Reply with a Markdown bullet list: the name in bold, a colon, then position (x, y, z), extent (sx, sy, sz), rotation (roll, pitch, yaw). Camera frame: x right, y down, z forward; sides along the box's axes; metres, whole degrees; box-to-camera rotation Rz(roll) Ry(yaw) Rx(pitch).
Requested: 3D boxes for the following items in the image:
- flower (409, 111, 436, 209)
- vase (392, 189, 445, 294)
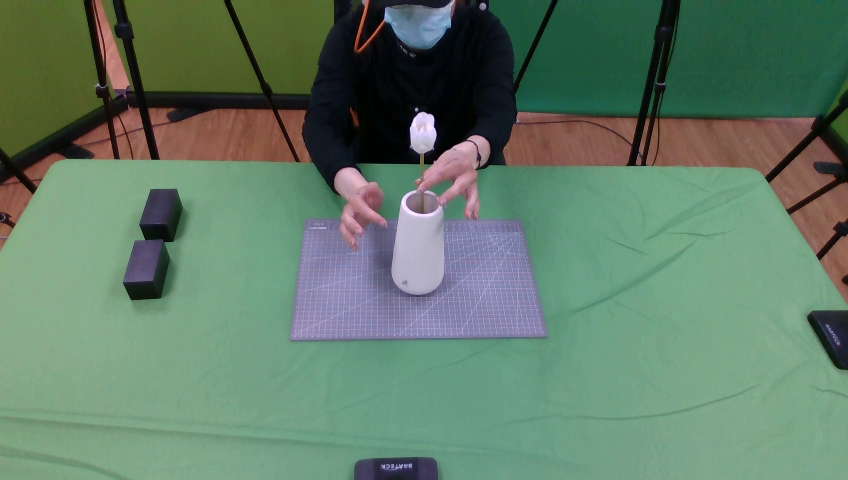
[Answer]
- **flower**: position (-0.005, -0.065, 1.006), extent (0.038, 0.363, 0.044), rotation (-15, 55, -12)
- **vase**: position (-0.006, 0.007, 1.060), extent (0.098, 0.201, 0.097), rotation (2, 48, -2)
